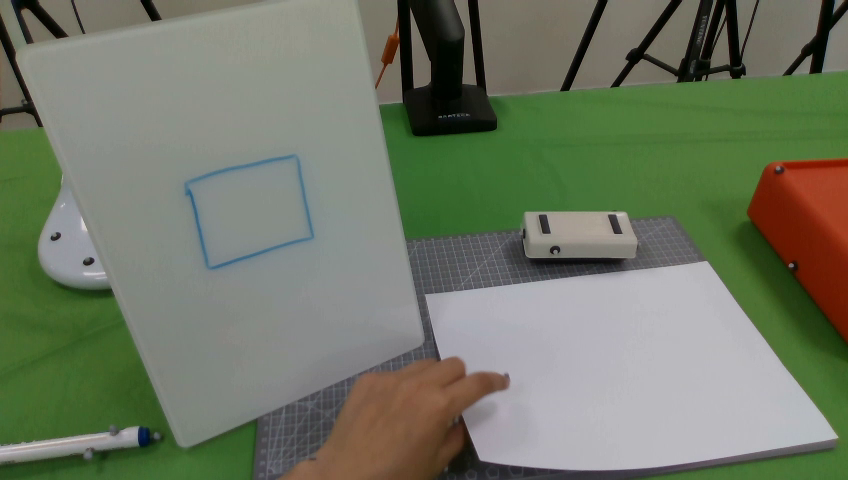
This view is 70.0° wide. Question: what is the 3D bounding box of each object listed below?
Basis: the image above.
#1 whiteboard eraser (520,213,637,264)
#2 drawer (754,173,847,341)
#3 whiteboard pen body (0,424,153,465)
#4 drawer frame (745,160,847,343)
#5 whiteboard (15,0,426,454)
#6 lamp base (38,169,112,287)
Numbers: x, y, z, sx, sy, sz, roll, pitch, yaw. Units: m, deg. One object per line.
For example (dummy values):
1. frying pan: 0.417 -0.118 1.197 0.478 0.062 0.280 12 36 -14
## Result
1. whiteboard eraser: 0.159 -0.001 0.632 0.113 0.042 0.055 -1 39 -1
2. drawer: 0.471 0.014 0.591 0.195 0.074 0.209 -4 40 -3
3. whiteboard pen body: -0.282 0.158 0.461 0.141 0.017 0.017 -5 40 -11
4. drawer frame: 0.470 0.009 0.595 0.202 0.083 0.211 -5 40 -4
5. whiteboard: -0.147 -0.026 0.504 0.217 0.307 0.142 -20 25 -21
6. lamp base: -0.335 -0.070 0.607 0.178 0.182 0.160 22 45 27
